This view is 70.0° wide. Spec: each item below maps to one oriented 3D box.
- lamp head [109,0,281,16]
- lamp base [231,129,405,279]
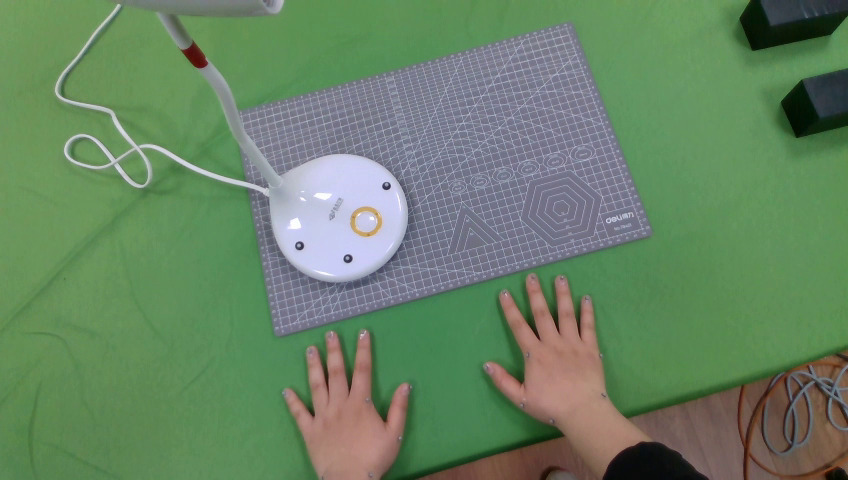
[{"bbox_3d":[-0.150,-0.177,0.341,0.123,0.113,0.111,-8,73,8],"label":"lamp head"},{"bbox_3d":[-0.121,-0.056,0.644,0.179,0.181,0.160,11,75,11],"label":"lamp base"}]
